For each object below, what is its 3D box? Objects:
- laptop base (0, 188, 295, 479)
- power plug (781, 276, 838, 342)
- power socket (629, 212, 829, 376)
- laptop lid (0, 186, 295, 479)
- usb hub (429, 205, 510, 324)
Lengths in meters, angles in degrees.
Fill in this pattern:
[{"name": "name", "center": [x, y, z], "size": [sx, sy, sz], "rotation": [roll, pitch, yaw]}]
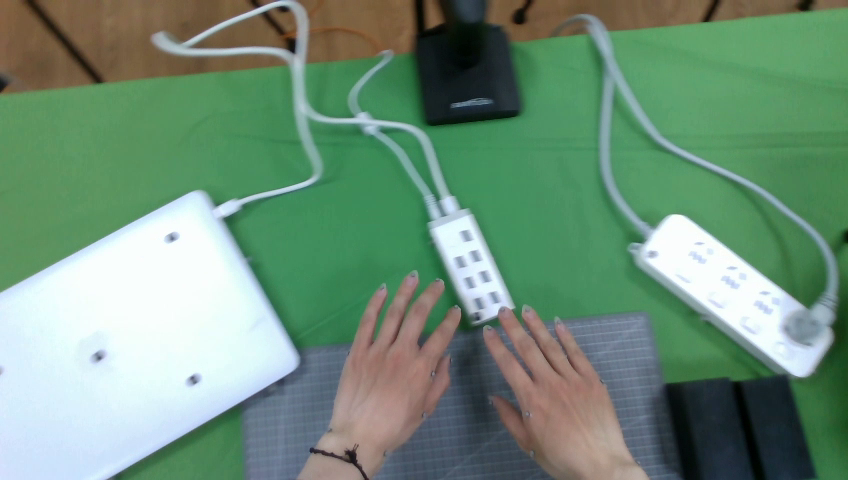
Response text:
[{"name": "laptop base", "center": [-0.343, 0.120, 0.649], "size": [0.354, 0.023, 0.234], "rotation": [-30, 80, -7]}, {"name": "power plug", "center": [0.409, 0.077, 0.638], "size": [0.072, 0.053, 0.035], "rotation": [-37, 77, -11]}, {"name": "power socket", "center": [0.333, 0.057, 0.662], "size": [0.226, 0.033, 0.072], "rotation": [40, 78, 9]}, {"name": "laptop lid", "center": [-0.342, 0.119, 0.637], "size": [0.357, 0.013, 0.240], "rotation": [-28, 80, -7]}, {"name": "usb hub", "center": [0.049, 0.027, 0.671], "size": [0.049, 0.025, 0.124], "rotation": [-21, 77, -4]}]
